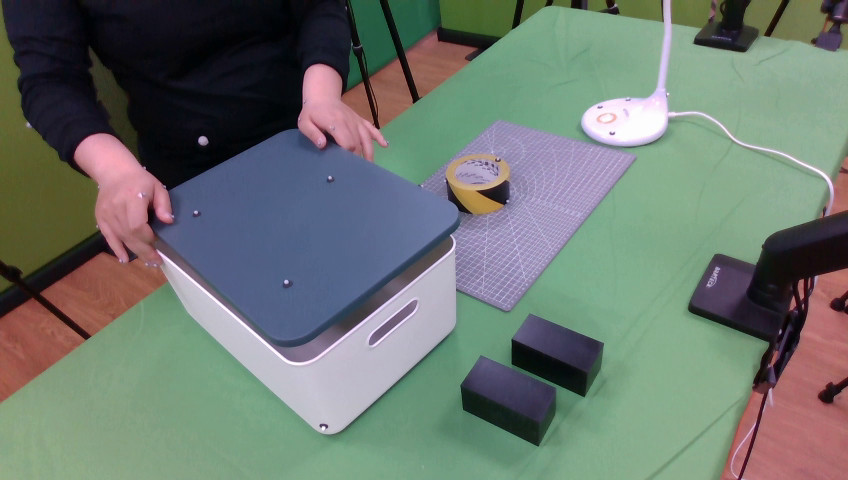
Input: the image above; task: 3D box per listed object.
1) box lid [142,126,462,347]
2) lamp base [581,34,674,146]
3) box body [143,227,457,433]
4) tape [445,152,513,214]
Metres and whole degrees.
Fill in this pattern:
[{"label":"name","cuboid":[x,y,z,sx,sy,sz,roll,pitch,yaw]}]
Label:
[{"label":"box lid","cuboid":[-0.160,-0.031,0.745,0.264,0.015,0.368,-37,47,-27]},{"label":"lamp base","cuboid":[0.392,-0.291,1.129,0.180,0.181,0.159,-11,41,-8]},{"label":"box body","cuboid":[-0.158,0.054,0.819,0.361,0.161,0.255,29,52,34]},{"label":"tape","cuboid":[0.095,-0.099,1.043,0.117,0.053,0.116,-4,41,4]}]
